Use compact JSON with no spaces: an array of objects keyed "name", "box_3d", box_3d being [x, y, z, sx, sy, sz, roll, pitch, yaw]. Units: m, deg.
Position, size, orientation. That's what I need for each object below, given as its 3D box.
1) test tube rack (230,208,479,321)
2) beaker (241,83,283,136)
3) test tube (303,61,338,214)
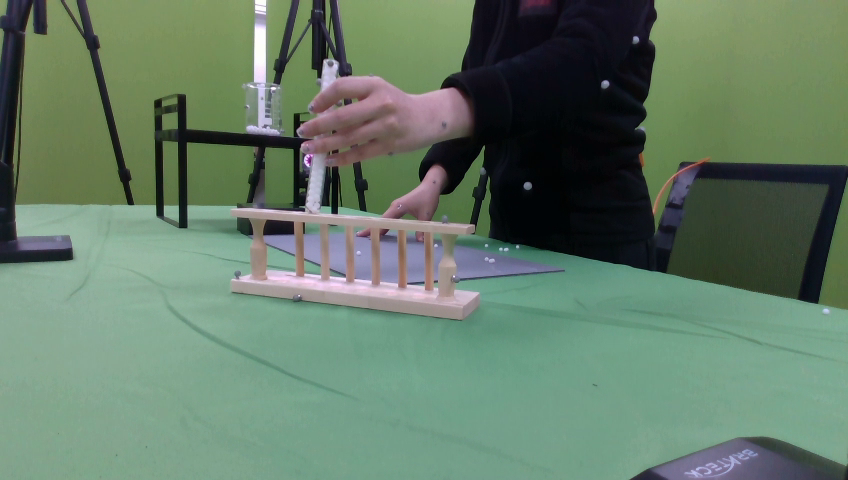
[{"name":"test tube rack","box_3d":[-0.069,0.017,0.598,0.242,0.085,0.067,5,8,18]},{"name":"beaker","box_3d":[-0.323,-0.259,1.208,0.084,0.100,0.073,-4,9,-38]},{"name":"test tube","box_3d":[-0.101,-0.099,0.588,0.017,0.150,0.017,8,2,0]}]
